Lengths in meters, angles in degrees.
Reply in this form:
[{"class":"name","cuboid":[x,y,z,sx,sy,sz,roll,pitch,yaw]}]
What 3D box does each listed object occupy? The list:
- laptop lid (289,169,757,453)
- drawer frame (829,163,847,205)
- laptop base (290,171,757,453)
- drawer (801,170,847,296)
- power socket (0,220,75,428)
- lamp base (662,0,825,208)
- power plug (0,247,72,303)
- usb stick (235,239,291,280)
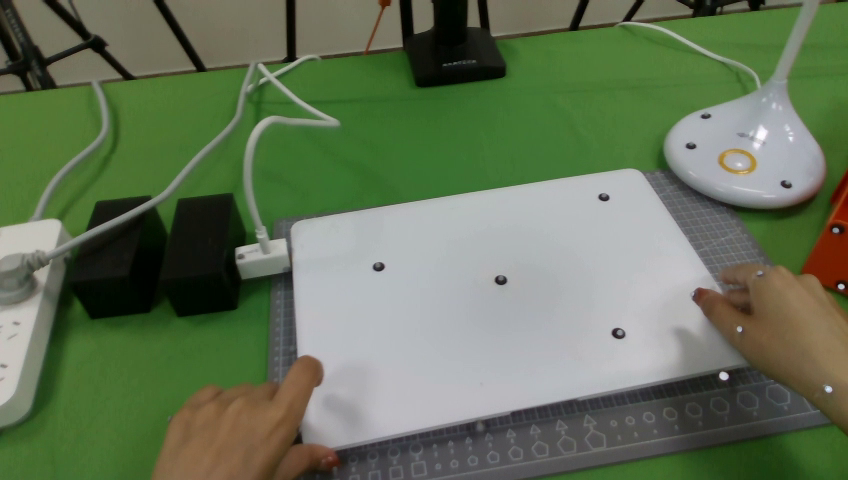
[{"class":"laptop lid","cuboid":[0.066,0.038,0.518,0.357,0.013,0.239,-8,48,-6]},{"class":"drawer frame","cuboid":[0.535,-0.075,0.581,0.200,0.083,0.213,28,52,27]},{"class":"laptop base","cuboid":[0.066,0.044,0.528,0.355,0.023,0.233,-9,50,-7]},{"class":"drawer","cuboid":[0.467,-0.010,0.524,0.193,0.074,0.211,27,52,27]},{"class":"power socket","cuboid":[-0.355,0.064,0.516,0.072,0.033,0.224,-9,45,-8]},{"class":"lamp base","cuboid":[0.338,-0.152,0.594,0.159,0.182,0.178,20,46,22]},{"class":"power plug","cuboid":[-0.329,0.036,0.510,0.072,0.053,0.035,-2,46,0]},{"class":"usb stick","cuboid":[-0.138,0.016,0.546,0.059,0.027,0.021,-9,45,-12]}]
